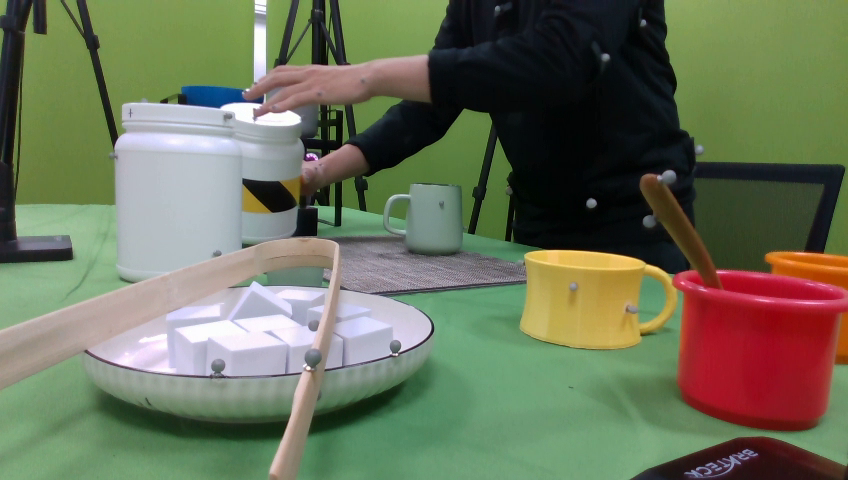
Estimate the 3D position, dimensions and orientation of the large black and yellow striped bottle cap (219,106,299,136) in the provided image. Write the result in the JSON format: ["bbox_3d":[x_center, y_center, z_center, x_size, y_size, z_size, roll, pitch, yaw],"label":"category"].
[{"bbox_3d":[-0.242,-0.175,0.884,0.115,0.019,0.115,9,21,-3],"label":"large black and yellow striped bottle cap"}]

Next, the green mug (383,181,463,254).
[{"bbox_3d":[-0.001,-0.036,0.922,0.126,0.105,0.092,0,8,-15],"label":"green mug"}]

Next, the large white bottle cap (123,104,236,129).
[{"bbox_3d":[-0.266,-0.135,0.663,0.115,0.018,0.115,3,7,0],"label":"large white bottle cap"}]

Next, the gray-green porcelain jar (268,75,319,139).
[{"bbox_3d":[-0.277,-0.279,1.280,0.106,0.126,0.106,2,8,0],"label":"gray-green porcelain jar"}]

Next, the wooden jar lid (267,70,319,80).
[{"bbox_3d":[-0.275,-0.340,1.271,0.108,0.020,0.108,5,6,0],"label":"wooden jar lid"}]

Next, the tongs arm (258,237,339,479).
[{"bbox_3d":[-0.074,0.040,0.345,0.051,0.026,0.384,-2,9,-3],"label":"tongs arm"}]

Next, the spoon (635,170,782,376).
[{"bbox_3d":[0.161,0.026,0.346,0.041,0.194,0.021,10,56,53],"label":"spoon"}]

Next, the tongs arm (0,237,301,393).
[{"bbox_3d":[-0.158,0.039,0.347,0.028,0.028,0.388,-3,8,11],"label":"tongs arm"}]

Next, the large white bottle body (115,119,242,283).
[{"bbox_3d":[-0.270,-0.051,0.674,0.131,0.184,0.130,2,8,0],"label":"large white bottle body"}]

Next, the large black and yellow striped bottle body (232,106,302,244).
[{"bbox_3d":[-0.256,-0.100,0.917,0.131,0.184,0.130,9,22,-4],"label":"large black and yellow striped bottle body"}]

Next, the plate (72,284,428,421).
[{"bbox_3d":[-0.102,0.066,0.380,0.208,0.039,0.207,3,7,0],"label":"plate"}]

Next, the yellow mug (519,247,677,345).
[{"bbox_3d":[0.148,0.045,0.513,0.131,0.064,0.100,3,7,0],"label":"yellow mug"}]

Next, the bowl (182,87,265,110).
[{"bbox_3d":[-0.383,-0.244,1.158,0.151,0.077,0.151,2,7,0],"label":"bowl"}]

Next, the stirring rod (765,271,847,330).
[{"bbox_3d":[0.352,0.020,0.481,0.176,0.006,0.014,-40,-7,17],"label":"stirring rod"}]

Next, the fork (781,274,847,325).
[{"bbox_3d":[0.332,0.018,0.443,0.028,0.018,0.207,-4,-35,-17],"label":"fork"}]

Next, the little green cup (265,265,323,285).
[{"bbox_3d":[-0.134,0.034,0.627,0.061,0.038,0.061,3,6,0],"label":"little green cup"}]
